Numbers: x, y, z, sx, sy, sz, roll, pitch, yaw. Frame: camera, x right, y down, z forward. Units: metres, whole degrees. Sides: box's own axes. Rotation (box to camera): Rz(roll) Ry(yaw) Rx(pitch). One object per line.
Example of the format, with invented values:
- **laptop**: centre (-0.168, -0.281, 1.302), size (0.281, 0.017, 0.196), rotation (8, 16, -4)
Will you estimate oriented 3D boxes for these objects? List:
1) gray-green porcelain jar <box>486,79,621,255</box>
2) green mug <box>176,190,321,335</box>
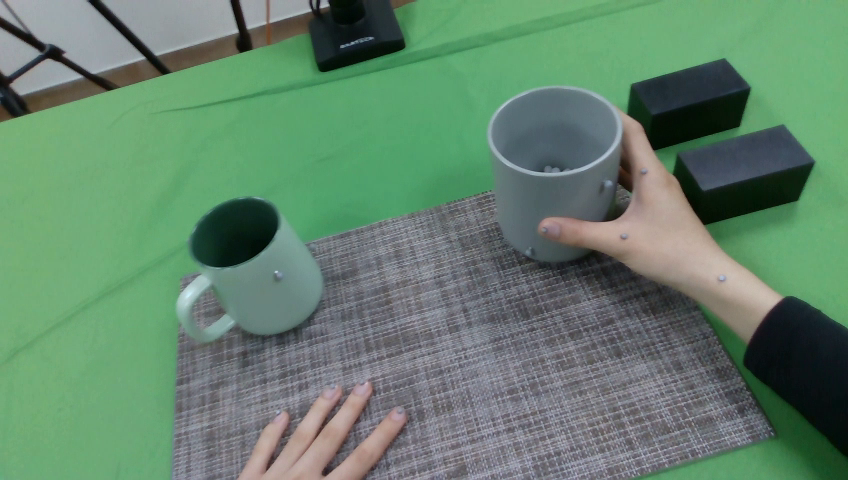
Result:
- **gray-green porcelain jar**: centre (0.112, -0.056, 0.525), size (0.106, 0.128, 0.105), rotation (-6, 52, 8)
- **green mug**: centre (-0.158, 0.030, 0.530), size (0.092, 0.106, 0.125), rotation (29, 64, 29)
